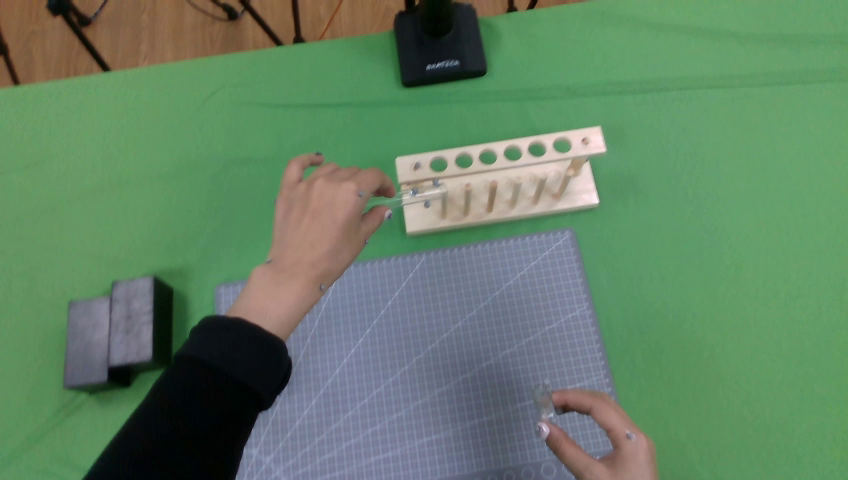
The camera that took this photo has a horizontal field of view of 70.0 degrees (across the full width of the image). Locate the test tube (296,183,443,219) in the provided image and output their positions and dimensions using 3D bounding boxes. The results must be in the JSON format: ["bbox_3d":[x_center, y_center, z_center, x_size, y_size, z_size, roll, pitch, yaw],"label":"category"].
[{"bbox_3d":[-0.048,-0.037,0.573,0.151,0.017,0.017,-11,66,-29],"label":"test tube"}]

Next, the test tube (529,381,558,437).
[{"bbox_3d":[0.106,0.151,0.529,0.017,0.152,0.017,-6,61,12],"label":"test tube"}]

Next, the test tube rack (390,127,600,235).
[{"bbox_3d":[0.086,-0.069,0.737,0.242,0.086,0.066,-9,69,0],"label":"test tube rack"}]

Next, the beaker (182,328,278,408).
[{"bbox_3d":[-0.203,0.142,0.662,0.084,0.101,0.073,-16,69,-4],"label":"beaker"}]
